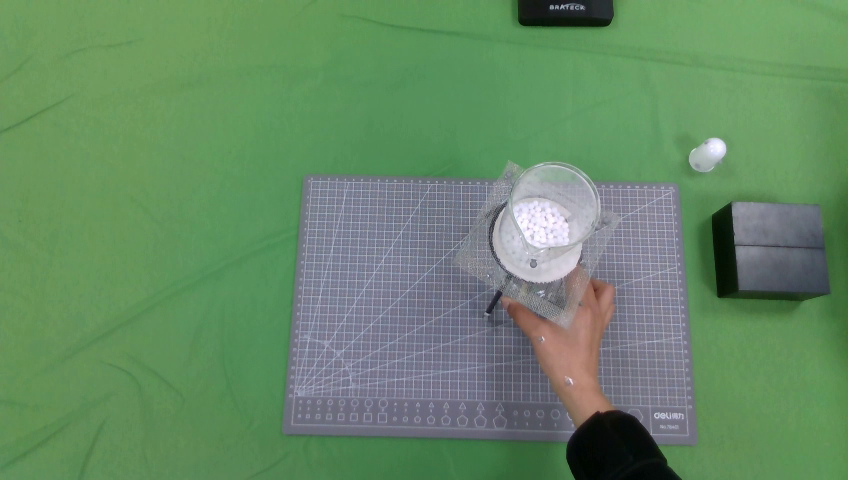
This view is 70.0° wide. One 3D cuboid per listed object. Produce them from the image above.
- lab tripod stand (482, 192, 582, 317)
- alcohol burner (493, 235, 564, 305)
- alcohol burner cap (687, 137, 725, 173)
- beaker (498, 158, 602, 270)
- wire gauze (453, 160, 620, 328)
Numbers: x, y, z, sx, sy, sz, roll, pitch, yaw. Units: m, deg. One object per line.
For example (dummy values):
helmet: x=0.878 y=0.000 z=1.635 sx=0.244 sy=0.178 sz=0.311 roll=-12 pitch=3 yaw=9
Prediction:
lab tripod stand: x=0.109 y=0.011 z=0.639 sx=0.148 sy=0.132 sz=0.147 roll=0 pitch=74 yaw=-1
alcohol burner: x=0.115 y=0.029 z=0.645 sx=0.078 sy=0.119 sz=0.077 roll=1 pitch=77 yaw=-2
alcohol burner cap: x=0.337 y=-0.103 z=0.718 sx=0.034 sy=0.048 sz=0.033 roll=0 pitch=75 yaw=1
beaker: x=0.103 y=-0.014 z=0.528 sx=0.074 sy=0.101 sz=0.083 roll=26 pitch=77 yaw=6
wire gauze: x=0.107 y=0.001 z=0.574 sx=0.125 sy=0.011 sz=0.121 roll=30 pitch=79 yaw=4
